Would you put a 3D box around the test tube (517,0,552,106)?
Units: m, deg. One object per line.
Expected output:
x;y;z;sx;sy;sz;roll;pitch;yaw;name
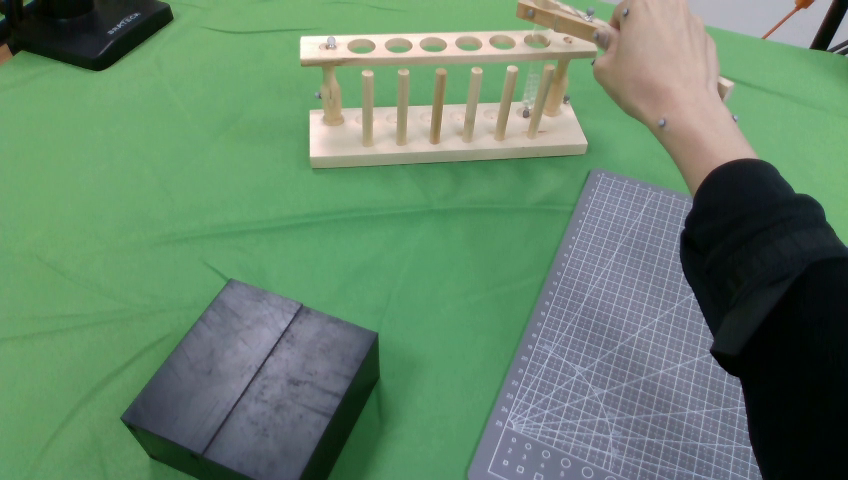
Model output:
0.094;-0.175;0.500;0.017;0.151;0.017;1;49;-1;test tube

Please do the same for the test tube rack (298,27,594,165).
0.020;-0.124;0.518;0.243;0.086;0.066;-4;49;-7;test tube rack

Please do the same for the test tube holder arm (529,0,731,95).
0.147;-0.152;0.457;0.177;0.015;0.013;36;60;28;test tube holder arm

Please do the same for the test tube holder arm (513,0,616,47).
0.110;-0.171;0.474;0.087;0.015;0.010;27;56;23;test tube holder arm
